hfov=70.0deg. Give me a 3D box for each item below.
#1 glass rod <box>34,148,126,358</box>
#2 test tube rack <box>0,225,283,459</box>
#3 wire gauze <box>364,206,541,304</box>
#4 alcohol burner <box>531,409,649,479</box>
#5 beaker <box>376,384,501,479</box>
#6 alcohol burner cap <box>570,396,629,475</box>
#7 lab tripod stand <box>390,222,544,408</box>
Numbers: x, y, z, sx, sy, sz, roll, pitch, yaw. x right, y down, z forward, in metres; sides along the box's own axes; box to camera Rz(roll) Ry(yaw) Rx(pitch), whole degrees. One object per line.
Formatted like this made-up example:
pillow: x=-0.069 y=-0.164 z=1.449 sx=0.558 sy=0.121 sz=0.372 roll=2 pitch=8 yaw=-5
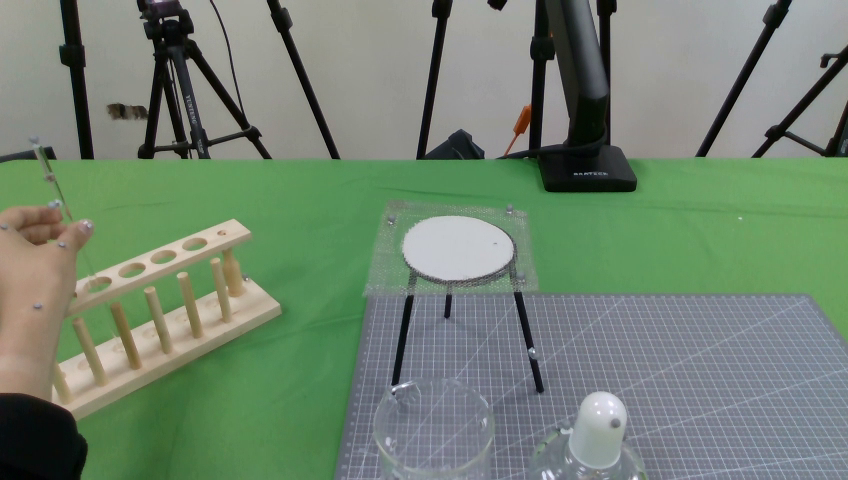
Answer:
glass rod: x=-0.285 y=0.019 z=0.508 sx=0.008 sy=0.201 sz=0.008 roll=-5 pitch=27 yaw=3
test tube rack: x=-0.253 y=0.079 z=0.537 sx=0.242 sy=0.086 sz=0.066 roll=-27 pitch=41 yaw=-34
wire gauze: x=0.023 y=0.008 z=0.462 sx=0.121 sy=0.011 sz=0.124 roll=2 pitch=34 yaw=3
alcohol burner: x=0.109 y=0.146 z=0.390 sx=0.078 sy=0.120 sz=0.077 roll=-1 pitch=36 yaw=1
beaker: x=0.007 y=0.154 z=0.396 sx=0.074 sy=0.101 sz=0.083 roll=-29 pitch=42 yaw=-35
alcohol burner cap: x=0.109 y=0.116 z=0.370 sx=0.034 sy=0.048 sz=0.033 roll=1 pitch=35 yaw=-1
lab tripod stand: x=0.033 y=0.063 z=0.501 sx=0.148 sy=0.132 sz=0.147 roll=0 pitch=33 yaw=0
